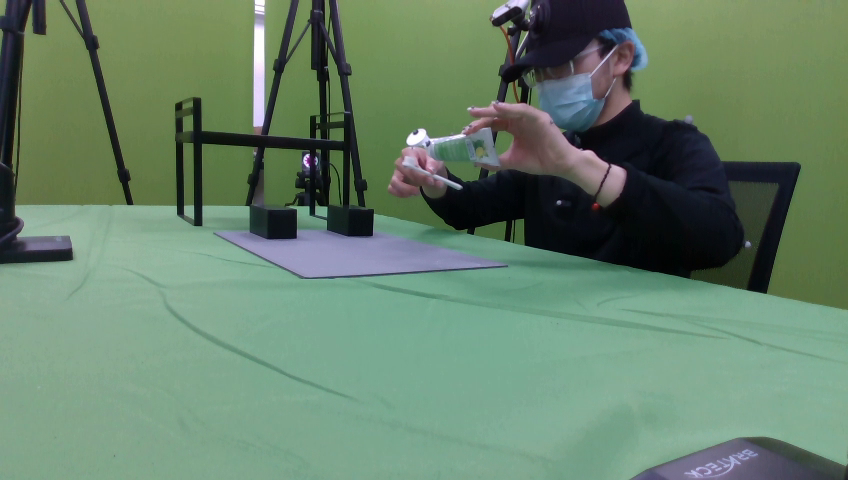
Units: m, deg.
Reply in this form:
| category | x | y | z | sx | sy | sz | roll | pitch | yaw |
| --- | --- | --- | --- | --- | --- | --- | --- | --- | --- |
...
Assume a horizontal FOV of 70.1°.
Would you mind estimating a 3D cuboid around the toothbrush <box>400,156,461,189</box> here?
| category | x | y | z | sx | sy | sz | roll | pitch | yaw |
| --- | --- | --- | --- | --- | --- | --- | --- | --- | --- |
| toothbrush | 0.016 | -0.112 | 1.024 | 0.014 | 0.016 | 0.183 | 9 | -4 | 34 |

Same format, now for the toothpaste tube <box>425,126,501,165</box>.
| category | x | y | z | sx | sy | sz | roll | pitch | yaw |
| --- | --- | --- | --- | --- | --- | --- | --- | --- | --- |
| toothpaste tube | 0.053 | -0.135 | 0.869 | 0.034 | 0.055 | 0.164 | -33 | 23 | -24 |

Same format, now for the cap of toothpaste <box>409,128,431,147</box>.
| category | x | y | z | sx | sy | sz | roll | pitch | yaw |
| --- | --- | --- | --- | --- | --- | --- | --- | --- | --- |
| cap of toothpaste | -0.006 | -0.157 | 0.933 | 0.037 | 0.037 | 0.011 | 9 | -28 | 40 |
